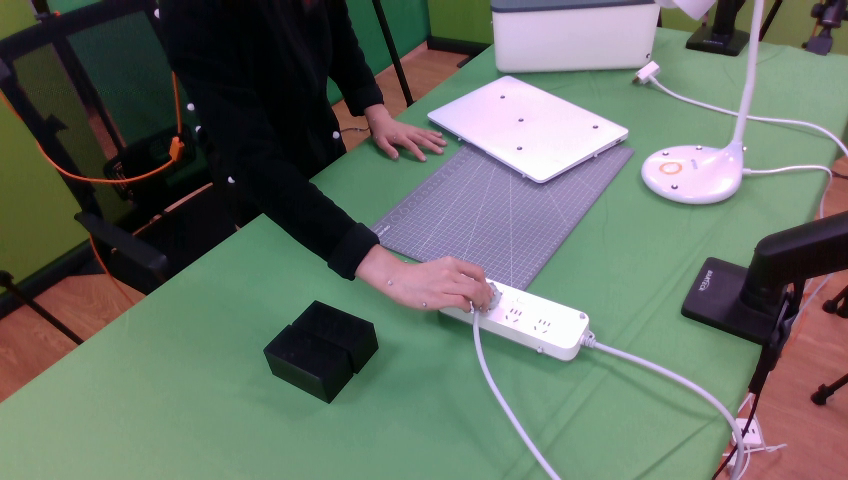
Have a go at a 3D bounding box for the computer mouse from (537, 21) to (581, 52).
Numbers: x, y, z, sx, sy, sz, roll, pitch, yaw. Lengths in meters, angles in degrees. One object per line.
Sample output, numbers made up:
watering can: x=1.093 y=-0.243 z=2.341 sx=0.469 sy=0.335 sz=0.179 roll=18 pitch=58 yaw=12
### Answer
computer mouse: x=0.335 y=-0.503 z=1.487 sx=0.118 sy=0.041 sz=0.062 roll=22 pitch=19 yaw=-28

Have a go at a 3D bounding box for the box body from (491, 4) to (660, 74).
box body: x=0.346 y=-0.520 z=1.429 sx=0.363 sy=0.161 sz=0.253 roll=0 pitch=41 yaw=9

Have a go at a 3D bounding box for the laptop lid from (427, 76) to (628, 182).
laptop lid: x=0.196 y=-0.237 z=1.213 sx=0.242 sy=0.013 sz=0.353 roll=-29 pitch=44 yaw=-21

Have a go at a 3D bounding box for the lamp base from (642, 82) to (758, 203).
lamp base: x=0.464 y=-0.174 z=0.992 sx=0.179 sy=0.181 sz=0.159 roll=-5 pitch=41 yaw=-2

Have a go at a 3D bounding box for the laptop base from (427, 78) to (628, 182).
laptop base: x=0.199 y=-0.228 z=1.222 sx=0.236 sy=0.023 sz=0.351 roll=-31 pitch=45 yaw=-22

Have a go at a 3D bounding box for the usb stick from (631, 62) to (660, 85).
usb stick: x=0.480 y=-0.358 z=1.317 sx=0.059 sy=0.022 sz=0.027 roll=-35 pitch=55 yaw=14

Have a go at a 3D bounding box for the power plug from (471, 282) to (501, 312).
power plug: x=0.074 y=0.083 z=0.806 sx=0.035 sy=0.053 sz=0.073 roll=33 pitch=48 yaw=31

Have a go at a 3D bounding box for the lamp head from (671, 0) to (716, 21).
lamp head: x=0.375 y=-0.373 z=0.807 sx=0.122 sy=0.113 sz=0.112 roll=-40 pitch=27 yaw=32

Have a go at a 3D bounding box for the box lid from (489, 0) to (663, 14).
box lid: x=0.340 y=-0.575 z=1.380 sx=0.371 sy=0.015 sz=0.262 roll=0 pitch=41 yaw=9

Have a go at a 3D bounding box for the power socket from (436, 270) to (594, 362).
power socket: x=0.118 y=0.101 z=0.832 sx=0.225 sy=0.033 sz=0.072 roll=19 pitch=48 yaw=27
